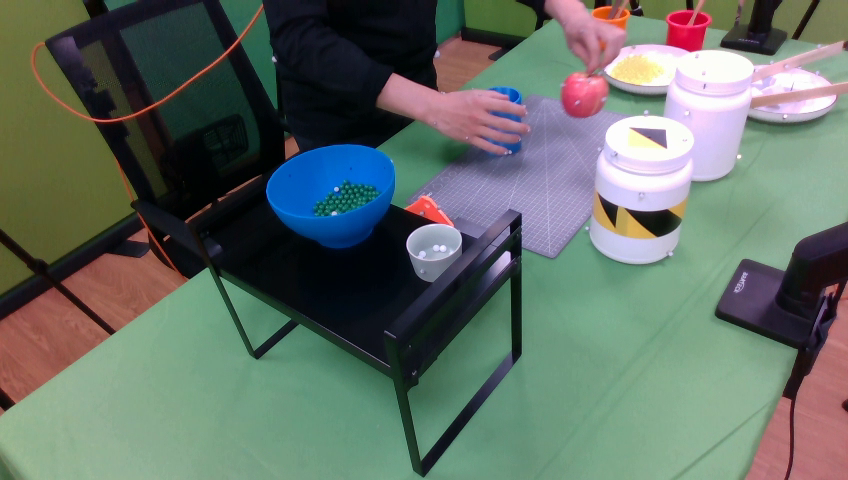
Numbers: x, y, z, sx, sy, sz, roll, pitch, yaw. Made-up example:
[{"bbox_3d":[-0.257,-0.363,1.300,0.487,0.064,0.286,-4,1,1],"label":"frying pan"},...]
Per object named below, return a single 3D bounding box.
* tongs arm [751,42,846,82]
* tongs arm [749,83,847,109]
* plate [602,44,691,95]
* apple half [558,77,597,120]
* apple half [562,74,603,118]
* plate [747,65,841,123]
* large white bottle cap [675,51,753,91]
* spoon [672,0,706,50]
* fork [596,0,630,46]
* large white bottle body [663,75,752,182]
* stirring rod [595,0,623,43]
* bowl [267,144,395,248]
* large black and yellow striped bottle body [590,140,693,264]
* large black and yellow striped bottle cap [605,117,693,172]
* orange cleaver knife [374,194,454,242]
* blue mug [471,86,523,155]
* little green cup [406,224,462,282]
[{"bbox_3d":[0.708,-0.331,1.193,0.386,0.026,0.050,-18,45,-16],"label":"tongs arm"},{"bbox_3d":[0.734,-0.280,1.133,0.388,0.028,0.028,-9,47,-5],"label":"tongs arm"},{"bbox_3d":[0.495,-0.367,1.317,0.209,0.038,0.208,-4,40,4],"label":"plate"},{"bbox_3d":[0.260,-0.243,1.056,0.033,0.081,0.080,-25,42,-38],"label":"apple half"},{"bbox_3d":[0.286,-0.257,1.079,0.054,0.075,0.080,-22,34,-37],"label":"apple half"},{"bbox_3d":[0.694,-0.282,1.189,0.207,0.039,0.206,-4,40,4],"label":"plate"},{"bbox_3d":[0.463,-0.271,0.967,0.115,0.018,0.114,-4,40,3],"label":"large white bottle cap"},{"bbox_3d":[0.629,-0.520,1.394,0.041,0.022,0.193,30,97,34],"label":"spoon"},{"bbox_3d":[0.481,-0.556,1.452,0.028,0.019,0.207,40,103,40],"label":"fork"},{"bbox_3d":[0.472,-0.207,1.022,0.130,0.185,0.130,-4,41,4],"label":"large white bottle body"},{"bbox_3d":[0.460,-0.556,1.460,0.014,0.006,0.176,30,93,23],"label":"stirring rod"},{"bbox_3d":[-0.104,-0.043,0.726,0.151,0.077,0.150,-4,40,4],"label":"bowl"},{"bbox_3d":[0.317,-0.071,0.889,0.131,0.185,0.130,-4,41,4],"label":"large black and yellow striped bottle body"},{"bbox_3d":[0.309,-0.134,0.833,0.115,0.019,0.114,-5,40,5],"label":"large black and yellow striped bottle cap"},{"bbox_3d":[-0.032,-0.026,0.965,0.210,0.077,0.012,-9,29,51],"label":"orange cleaver knife"},{"bbox_3d":[0.135,-0.235,1.163,0.082,0.106,0.115,-36,48,-29],"label":"blue mug"},{"bbox_3d":[0.013,0.015,0.668,0.061,0.039,0.061,-4,40,4],"label":"little green cup"}]
